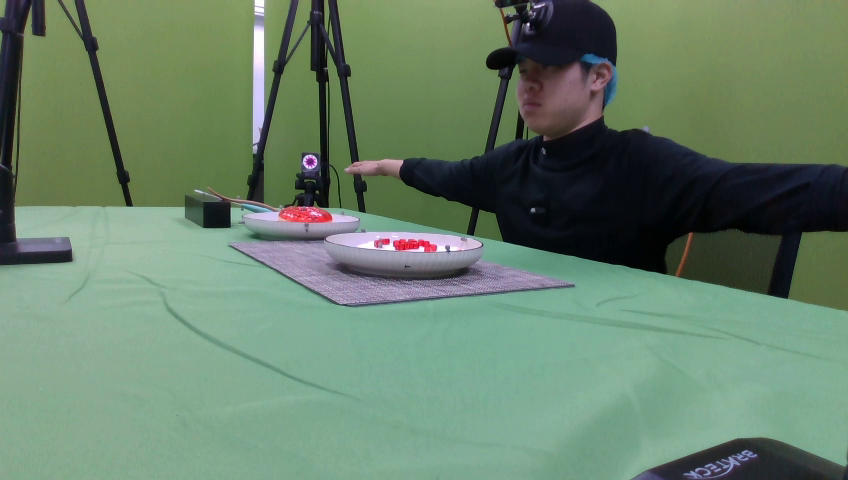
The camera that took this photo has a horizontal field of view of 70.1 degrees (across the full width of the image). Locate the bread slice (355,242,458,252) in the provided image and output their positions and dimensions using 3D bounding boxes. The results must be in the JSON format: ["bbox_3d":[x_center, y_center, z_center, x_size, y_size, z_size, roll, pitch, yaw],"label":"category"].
[{"bbox_3d":[-0.027,0.019,0.793,0.131,0.019,0.105,6,7,18],"label":"bread slice"}]

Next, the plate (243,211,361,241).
[{"bbox_3d":[-0.219,-0.025,1.092,0.208,0.039,0.207,3,7,0],"label":"plate"}]

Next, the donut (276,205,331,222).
[{"bbox_3d":[-0.218,-0.037,1.091,0.099,0.048,0.099,5,9,0],"label":"donut"}]

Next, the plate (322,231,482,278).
[{"bbox_3d":[-0.028,0.018,0.789,0.209,0.038,0.209,3,7,0],"label":"plate"}]

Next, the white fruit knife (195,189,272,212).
[{"bbox_3d":[-0.378,-0.073,1.270,0.208,0.016,0.027,18,-4,-32],"label":"white fruit knife"}]

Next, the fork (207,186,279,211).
[{"bbox_3d":[-0.342,-0.070,1.244,0.208,0.018,0.028,18,-5,-24],"label":"fork"}]
